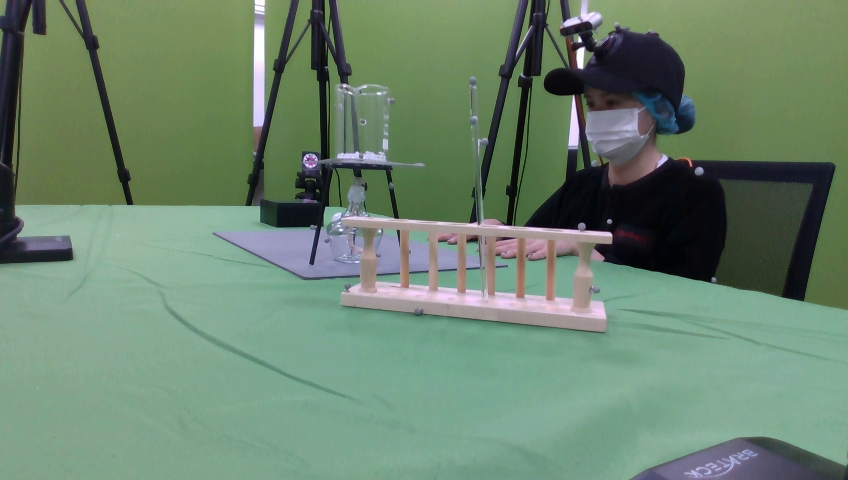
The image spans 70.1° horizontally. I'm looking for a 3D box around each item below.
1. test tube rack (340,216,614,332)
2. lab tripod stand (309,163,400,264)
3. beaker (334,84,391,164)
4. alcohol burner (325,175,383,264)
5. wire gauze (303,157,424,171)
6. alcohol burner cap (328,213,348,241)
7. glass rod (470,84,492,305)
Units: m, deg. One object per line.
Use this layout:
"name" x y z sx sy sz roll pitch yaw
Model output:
"test tube rack" 0.048 0.026 0.568 0.242 0.085 0.067 4 8 13
"lab tripod stand" -0.091 -0.037 0.813 0.148 0.131 0.148 1 6 0
"beaker" -0.082 -0.149 0.792 0.074 0.100 0.084 2 5 5
"alcohol burner" -0.093 -0.028 0.816 0.078 0.119 0.078 3 5 0
"wire gauze" -0.082 -0.101 0.799 0.126 0.011 0.121 1 7 -30
"alcohol burner cap" -0.148 -0.024 1.050 0.034 0.048 0.034 3 7 0
"glass rod" 0.051 -0.036 0.535 0.008 0.199 0.008 -5 10 1
